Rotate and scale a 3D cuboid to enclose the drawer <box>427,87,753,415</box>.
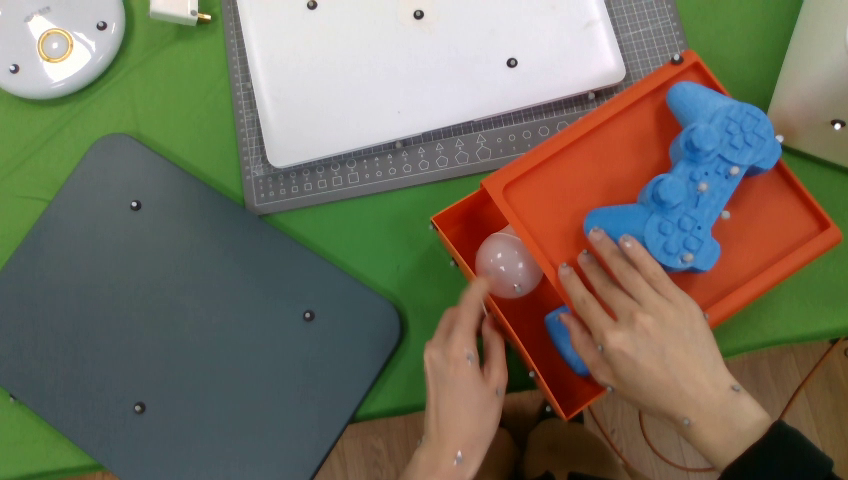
[{"bbox_3d":[0.142,0.007,0.516,0.212,0.073,0.193,-34,77,-2],"label":"drawer"}]

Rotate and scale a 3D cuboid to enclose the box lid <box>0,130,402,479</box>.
[{"bbox_3d":[-0.234,0.080,0.567,0.370,0.015,0.263,31,82,9],"label":"box lid"}]

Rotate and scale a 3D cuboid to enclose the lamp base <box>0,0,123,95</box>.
[{"bbox_3d":[-0.409,-0.253,0.563,0.160,0.181,0.178,-39,75,-5],"label":"lamp base"}]

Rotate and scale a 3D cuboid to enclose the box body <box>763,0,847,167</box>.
[{"bbox_3d":[0.474,-0.223,0.499,0.253,0.161,0.363,22,81,9],"label":"box body"}]

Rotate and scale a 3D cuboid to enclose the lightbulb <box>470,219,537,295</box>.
[{"bbox_3d":[0.081,-0.001,0.533,0.059,0.060,0.107,27,66,10],"label":"lightbulb"}]

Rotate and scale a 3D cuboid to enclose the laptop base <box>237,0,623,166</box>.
[{"bbox_3d":[-0.005,-0.220,0.608,0.354,0.023,0.234,-14,81,1],"label":"laptop base"}]

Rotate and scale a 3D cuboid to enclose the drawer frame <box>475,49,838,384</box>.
[{"bbox_3d":[0.184,-0.019,0.518,0.213,0.083,0.200,-33,78,-3],"label":"drawer frame"}]

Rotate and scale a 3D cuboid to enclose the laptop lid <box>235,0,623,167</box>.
[{"bbox_3d":[-0.006,-0.220,0.596,0.357,0.013,0.240,-12,80,2],"label":"laptop lid"}]

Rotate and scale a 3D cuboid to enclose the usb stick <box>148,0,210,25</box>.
[{"bbox_3d":[-0.250,-0.238,0.619,0.059,0.021,0.027,6,81,-28],"label":"usb stick"}]

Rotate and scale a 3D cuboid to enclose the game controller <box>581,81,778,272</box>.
[{"bbox_3d":[0.202,-0.048,0.470,0.097,0.052,0.155,34,84,6],"label":"game controller"}]
